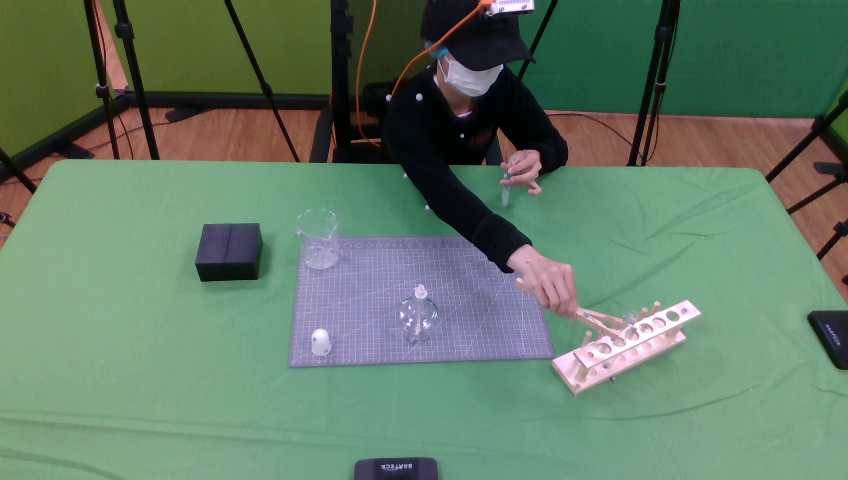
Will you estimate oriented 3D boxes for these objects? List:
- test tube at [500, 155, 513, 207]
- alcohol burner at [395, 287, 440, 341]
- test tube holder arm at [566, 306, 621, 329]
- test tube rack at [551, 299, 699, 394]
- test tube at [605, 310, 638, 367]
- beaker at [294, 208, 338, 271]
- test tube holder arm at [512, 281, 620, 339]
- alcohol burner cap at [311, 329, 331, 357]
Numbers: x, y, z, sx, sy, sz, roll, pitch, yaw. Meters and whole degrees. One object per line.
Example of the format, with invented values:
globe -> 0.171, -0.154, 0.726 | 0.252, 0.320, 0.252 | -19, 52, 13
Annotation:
test tube -> 0.165, -0.115, 1.216 | 0.017, 0.151, 0.017 | -1, 56, 2
alcohol burner -> -0.010, 0.116, 1.018 | 0.078, 0.119, 0.077 | 3, 47, -3
test tube holder arm -> 0.264, 0.121, 0.949 | 0.088, 0.015, 0.010 | 14, 38, 1
test tube rack -> 0.339, 0.166, 1.021 | 0.242, 0.085, 0.066 | -19, 50, -21
test tube -> 0.310, 0.159, 0.957 | 0.017, 0.151, 0.017 | 1, 48, -1
beaker -> -0.196, 0.003, 1.123 | 0.074, 0.101, 0.083 | -23, 52, -24
test tube holder arm -> 0.221, 0.108, 0.953 | 0.178, 0.015, 0.013 | 25, 38, 15
alcohol burner cap -> -0.173, 0.168, 1.004 | 0.034, 0.048, 0.033 | 2, 46, -2
